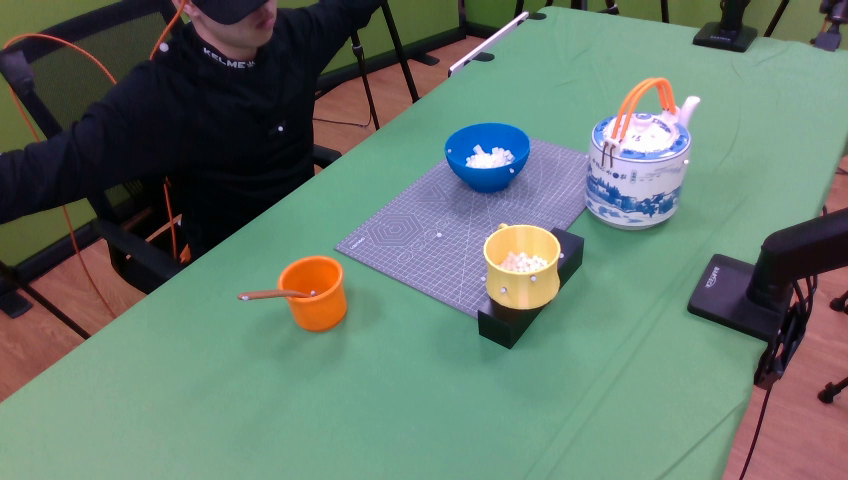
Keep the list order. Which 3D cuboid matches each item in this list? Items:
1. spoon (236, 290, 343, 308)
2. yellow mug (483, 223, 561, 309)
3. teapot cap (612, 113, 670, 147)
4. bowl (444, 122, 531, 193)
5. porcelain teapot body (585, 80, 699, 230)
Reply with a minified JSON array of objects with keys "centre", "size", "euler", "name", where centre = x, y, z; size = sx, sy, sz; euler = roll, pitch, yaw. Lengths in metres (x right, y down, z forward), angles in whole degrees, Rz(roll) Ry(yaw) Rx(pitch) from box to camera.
[{"centre":[-0.176,0.076,0.808],"size":[0.041,0.195,0.021],"euler":[23,94,30],"name":"spoon"},{"centre":[0.126,0.025,0.811],"size":[0.100,0.064,0.130],"euler":[-16,39,-9],"name":"yellow mug"},{"centre":[0.323,-0.166,0.900],"size":[0.085,0.044,0.085],"euler":[-3,38,3],"name":"teapot cap"},{"centre":[0.112,-0.136,1.063],"size":[0.151,0.077,0.150],"euler":[-4,41,4],"name":"bowl"},{"centre":[0.350,-0.149,0.936],"size":[0.206,0.226,0.144],"euler":[-30,45,-25],"name":"porcelain teapot body"}]
